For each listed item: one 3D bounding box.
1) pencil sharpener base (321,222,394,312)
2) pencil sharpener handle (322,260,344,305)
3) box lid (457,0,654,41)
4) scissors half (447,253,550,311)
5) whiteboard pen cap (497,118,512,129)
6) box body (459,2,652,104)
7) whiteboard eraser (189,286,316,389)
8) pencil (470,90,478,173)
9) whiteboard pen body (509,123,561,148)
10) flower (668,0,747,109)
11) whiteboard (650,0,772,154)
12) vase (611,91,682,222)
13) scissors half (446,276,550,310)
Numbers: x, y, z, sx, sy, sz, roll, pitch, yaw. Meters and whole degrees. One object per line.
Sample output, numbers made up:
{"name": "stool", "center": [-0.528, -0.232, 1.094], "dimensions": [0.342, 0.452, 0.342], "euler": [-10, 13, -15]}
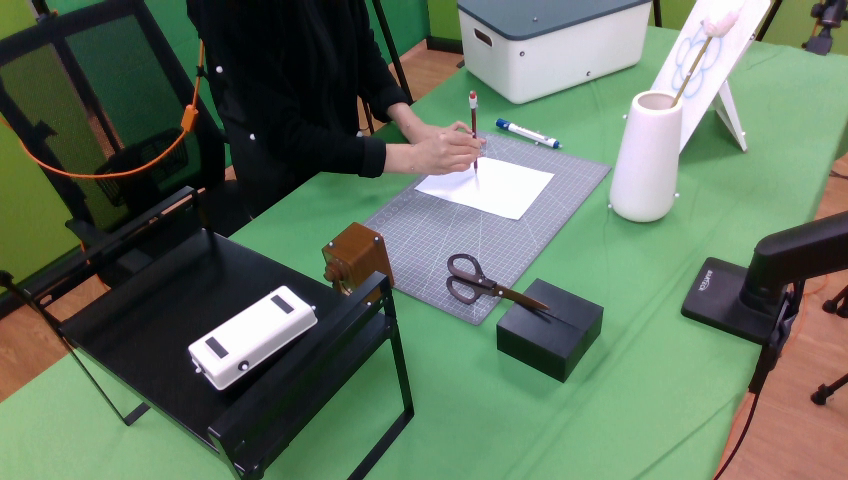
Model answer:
{"name": "pencil sharpener base", "center": [-0.096, 0.041, 0.873], "dimensions": [0.061, 0.107, 0.077], "euler": [25, 54, 32]}
{"name": "pencil sharpener handle", "center": [-0.131, 0.062, 0.839], "dimensions": [0.035, 0.068, 0.031], "euler": [29, 56, 27]}
{"name": "box lid", "center": [0.285, -0.522, 1.323], "dimensions": [0.373, 0.015, 0.261], "euler": [-22, 43, -16]}
{"name": "scissors half", "center": [0.098, 0.058, 0.821], "dimensions": [0.173, 0.040, 0.013], "euler": [27, 33, 36]}
{"name": "whiteboard pen cap", "center": [0.165, -0.235, 1.227], "dimensions": [0.033, 0.018, 0.018], "euler": [31, 53, 31]}
{"name": "box body", "center": [0.291, -0.465, 1.371], "dimensions": [0.365, 0.161, 0.252], "euler": [-22, 42, -16]}
{"name": "whiteboard eraser", "center": [-0.166, 0.096, 0.593], "dimensions": [0.113, 0.042, 0.055], "euler": [-36, 47, -29]}
{"name": "pencil", "center": [0.087, -0.179, 1.037], "dimensions": [0.012, 0.195, 0.012], "euler": [-3, 55, 5]}
{"name": "whiteboard pen body", "center": [0.209, -0.211, 1.196], "dimensions": [0.139, 0.017, 0.017], "euler": [30, 52, 33]}
{"name": "flower", "center": [0.354, -0.187, 0.879], "dimensions": [0.038, 0.362, 0.044], "euler": [30, 48, 14]}
{"name": "whiteboard", "center": [0.543, -0.298, 1.076], "dimensions": [0.144, 0.305, 0.216], "euler": [12, 40, -7]}
{"name": "vase", "center": [0.348, -0.125, 0.935], "dimensions": [0.098, 0.201, 0.097], "euler": [-3, 40, 3]}
{"name": "scissors half", "center": [0.097, 0.077, 0.827], "dimensions": [0.174, 0.040, 0.013], "euler": [6, 13, 44]}
